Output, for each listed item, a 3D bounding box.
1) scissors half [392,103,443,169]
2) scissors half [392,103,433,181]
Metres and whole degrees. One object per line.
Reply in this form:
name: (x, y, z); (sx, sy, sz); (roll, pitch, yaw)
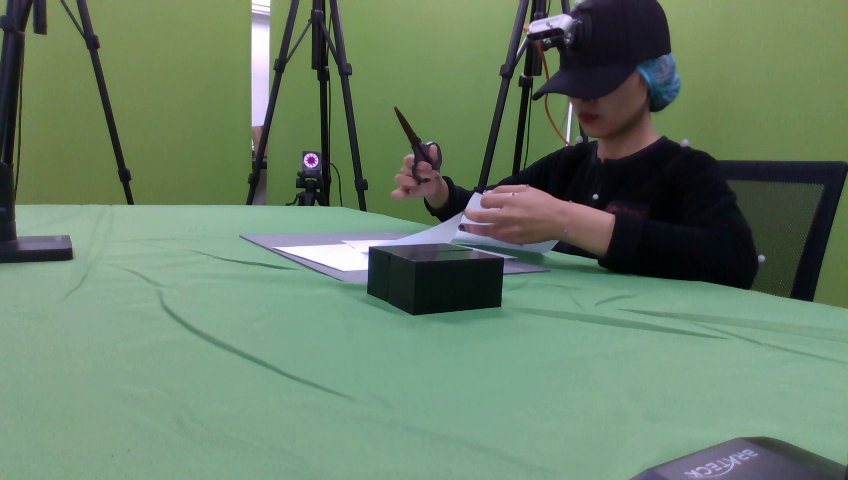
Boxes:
scissors half: (-0.010, -0.178, 1.031); (0.013, 0.040, 0.176); (24, -11, 38)
scissors half: (-0.023, -0.163, 1.026); (0.040, 0.176, 0.012); (-43, 48, -18)
